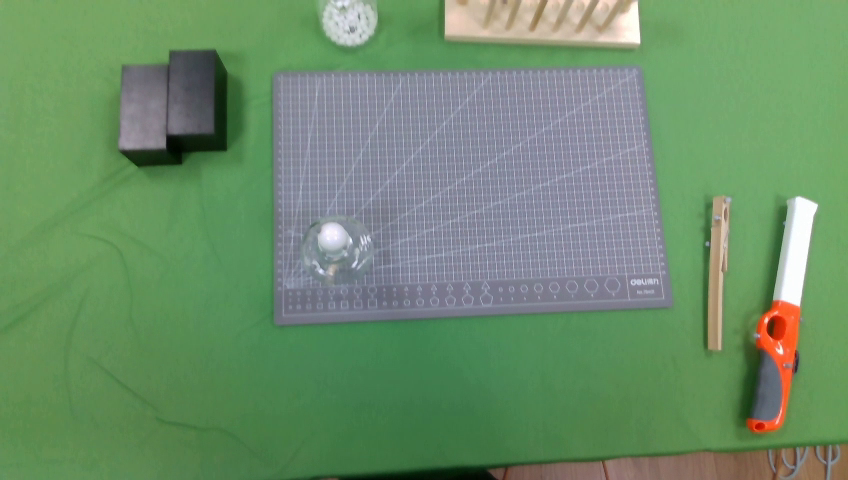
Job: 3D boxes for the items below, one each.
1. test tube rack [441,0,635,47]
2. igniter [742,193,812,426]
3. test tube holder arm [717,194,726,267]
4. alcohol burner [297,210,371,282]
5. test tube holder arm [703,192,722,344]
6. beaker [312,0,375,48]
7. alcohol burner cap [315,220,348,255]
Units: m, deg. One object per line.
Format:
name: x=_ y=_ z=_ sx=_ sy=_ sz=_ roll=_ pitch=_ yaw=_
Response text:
test tube rack: x=0.145 y=-0.287 z=0.723 sx=0.242 sy=0.085 sz=0.066 roll=2 pitch=78 yaw=-3
igniter: x=0.405 y=0.077 z=0.692 sx=0.057 sy=0.025 sz=0.275 roll=19 pitch=77 yaw=-10
test tube holder arm: x=0.345 y=-0.011 z=0.712 sx=0.010 sy=0.015 sz=0.087 roll=17 pitch=76 yaw=-31
alcohol burner: x=-0.095 y=0.002 z=0.629 sx=0.078 sy=0.119 sz=0.077 roll=1 pitch=76 yaw=-5
test tube holder arm: x=0.333 y=0.031 z=0.700 sx=0.013 sy=0.015 sz=0.177 roll=15 pitch=77 yaw=-31
beaker: x=-0.093 y=-0.274 z=0.697 sx=0.074 sy=0.100 sz=0.083 roll=1 pitch=78 yaw=-3
alcohol burner cap: x=-0.093 y=-0.004 z=0.593 sx=0.034 sy=0.048 sz=0.034 roll=1 pitch=83 yaw=-4
